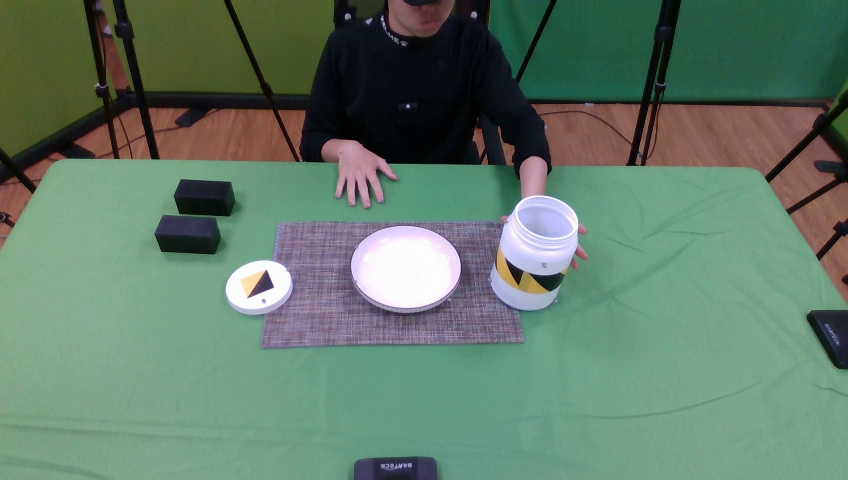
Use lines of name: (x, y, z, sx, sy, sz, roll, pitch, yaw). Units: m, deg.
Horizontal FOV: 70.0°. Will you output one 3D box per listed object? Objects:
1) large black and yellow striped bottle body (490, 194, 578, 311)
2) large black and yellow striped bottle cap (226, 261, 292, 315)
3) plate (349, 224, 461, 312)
large black and yellow striped bottle body: (0.195, 0.022, 1.073, 0.131, 0.185, 0.130, 4, 46, -4)
large black and yellow striped bottle cap: (-0.298, 0.085, 1.092, 0.115, 0.019, 0.114, 0, 45, 1)
plate: (-0.035, 0.054, 1.126, 0.208, 0.039, 0.206, 2, 46, -2)
